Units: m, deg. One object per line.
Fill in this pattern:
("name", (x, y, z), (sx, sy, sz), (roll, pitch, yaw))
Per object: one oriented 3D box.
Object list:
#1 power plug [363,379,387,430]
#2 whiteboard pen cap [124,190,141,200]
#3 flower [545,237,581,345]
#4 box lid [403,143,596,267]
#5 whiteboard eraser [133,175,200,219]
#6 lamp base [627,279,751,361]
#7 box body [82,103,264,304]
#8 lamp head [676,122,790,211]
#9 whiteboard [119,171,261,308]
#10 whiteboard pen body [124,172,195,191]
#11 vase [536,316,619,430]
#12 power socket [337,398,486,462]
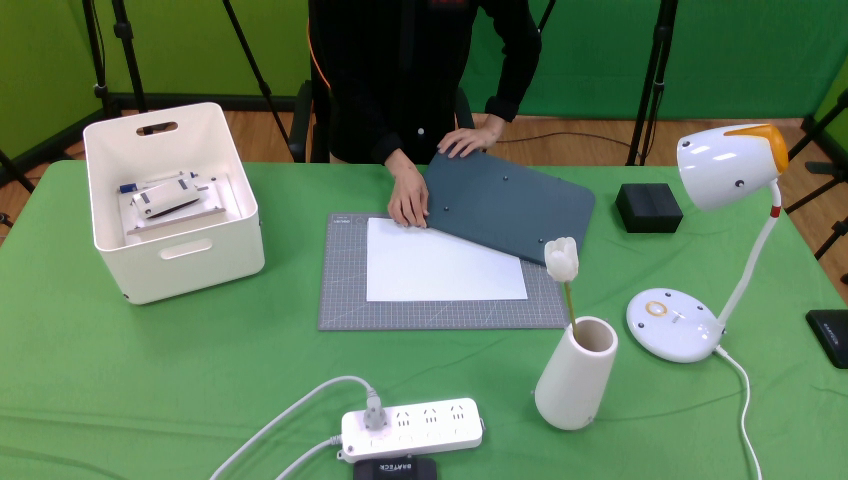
("power plug", (-0.071, 0.252, 0.911), (0.035, 0.053, 0.072), (3, 40, 0))
("whiteboard pen cap", (-0.591, -0.092, 1.232), (0.033, 0.018, 0.018), (-14, 49, -17))
("flower", (0.213, 0.137, 0.846), (0.038, 0.364, 0.044), (21, 55, 40))
("box lid", (0.168, -0.078, 1.282), (0.371, 0.015, 0.262), (20, 49, 11))
("whiteboard eraser", (-0.499, -0.082, 1.177), (0.113, 0.042, 0.055), (-26, 60, -25))
("lamp base", (0.460, 0.100, 1.027), (0.178, 0.181, 0.160), (27, 51, 17))
("box body", (-0.465, -0.077, 1.137), (0.254, 0.161, 0.361), (-16, 50, -19))
("lamp head", (0.423, -0.104, 0.819), (0.122, 0.113, 0.112), (-13, 33, 40))
("whiteboard", (-0.464, -0.060, 1.137), (0.217, 0.144, 0.303), (-19, 51, -17))
("whiteboard pen body", (-0.553, -0.120, 1.269), (0.141, 0.017, 0.017), (-16, 50, -18))
("vase", (0.229, 0.200, 0.901), (0.098, 0.201, 0.097), (3, 46, -3))
("power socket", (-0.018, 0.285, 0.914), (0.227, 0.033, 0.071), (-4, 46, -8))
